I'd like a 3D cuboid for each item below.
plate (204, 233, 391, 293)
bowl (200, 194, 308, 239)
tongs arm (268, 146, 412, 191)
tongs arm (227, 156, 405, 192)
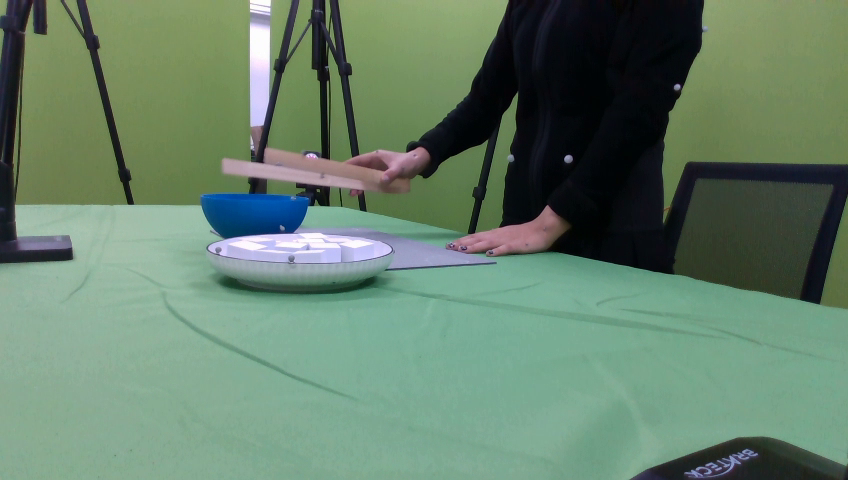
[{"bbox_3d":[-0.143,0.025,0.697,0.208,0.039,0.207,3,9,0],"label":"plate"},{"bbox_3d":[-0.245,-0.025,0.879,0.151,0.077,0.151,2,7,0],"label":"bowl"},{"bbox_3d":[-0.133,-0.119,1.060,0.050,0.026,0.387,-6,-5,36],"label":"tongs arm"},{"bbox_3d":[-0.178,-0.116,1.093,0.028,0.027,0.390,-11,-9,41],"label":"tongs arm"}]
